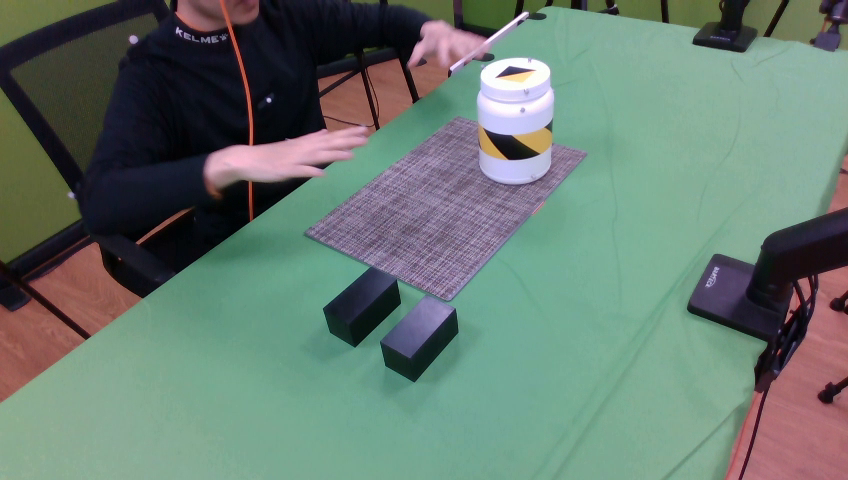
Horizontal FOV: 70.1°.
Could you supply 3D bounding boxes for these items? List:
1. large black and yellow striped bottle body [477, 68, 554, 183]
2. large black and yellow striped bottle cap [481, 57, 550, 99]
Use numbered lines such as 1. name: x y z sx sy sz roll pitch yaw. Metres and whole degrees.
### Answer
1. large black and yellow striped bottle body: 0.159 -0.206 1.054 0.131 0.185 0.130 -4 41 4
2. large black and yellow striped bottle cap: 0.151 -0.270 1.001 0.115 0.019 0.114 -4 42 4
